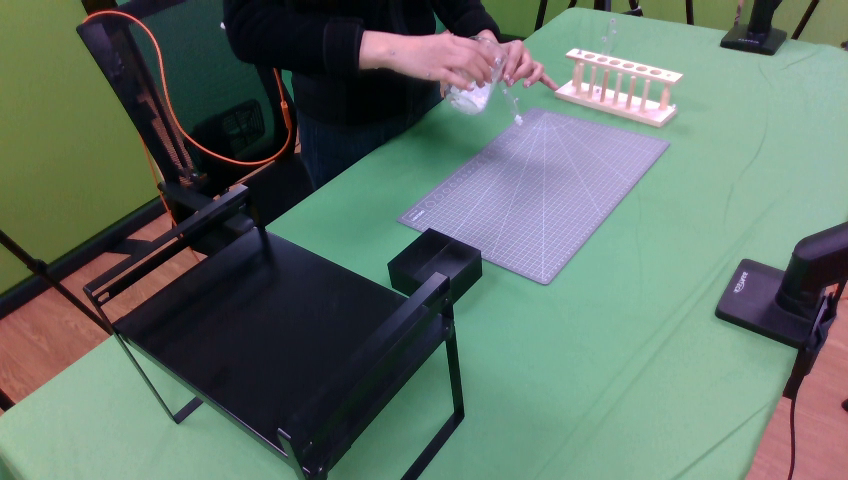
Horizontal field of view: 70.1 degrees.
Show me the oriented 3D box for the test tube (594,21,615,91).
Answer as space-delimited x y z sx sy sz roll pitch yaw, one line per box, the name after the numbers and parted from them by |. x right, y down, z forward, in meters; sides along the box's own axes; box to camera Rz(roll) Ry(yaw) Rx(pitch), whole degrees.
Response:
0.367 -0.372 1.232 0.017 0.151 0.017 0 43 0 | test tube

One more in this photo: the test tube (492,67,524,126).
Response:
0.150 -0.249 1.065 0.017 0.152 0.017 -12 58 21 | test tube

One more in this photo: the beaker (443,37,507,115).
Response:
0.081 -0.256 0.961 0.073 0.085 0.100 19 81 35 | beaker

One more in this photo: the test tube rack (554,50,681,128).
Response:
0.388 -0.311 1.234 0.240 0.085 0.067 28 51 34 | test tube rack
